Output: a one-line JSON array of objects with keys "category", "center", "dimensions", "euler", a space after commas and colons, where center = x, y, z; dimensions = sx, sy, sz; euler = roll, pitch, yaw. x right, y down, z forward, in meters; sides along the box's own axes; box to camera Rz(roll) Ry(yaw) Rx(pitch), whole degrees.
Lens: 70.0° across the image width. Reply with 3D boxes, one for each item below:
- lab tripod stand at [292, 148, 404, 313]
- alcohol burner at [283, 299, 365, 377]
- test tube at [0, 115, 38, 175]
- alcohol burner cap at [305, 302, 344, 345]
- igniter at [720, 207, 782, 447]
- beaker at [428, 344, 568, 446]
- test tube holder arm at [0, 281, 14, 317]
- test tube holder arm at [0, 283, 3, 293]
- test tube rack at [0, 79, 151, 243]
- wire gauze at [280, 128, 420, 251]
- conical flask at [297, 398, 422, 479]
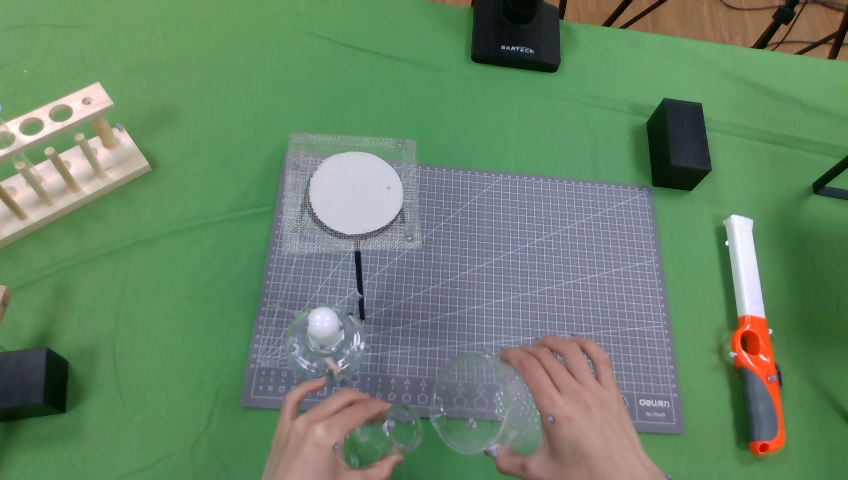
[{"category": "lab tripod stand", "center": [-0.070, -0.016, 0.609], "dimensions": [0.149, 0.132, 0.147], "euler": [4, 65, -7]}, {"category": "alcohol burner", "center": [-0.093, 0.087, 0.569], "dimensions": [0.078, 0.120, 0.077], "euler": [4, 63, -7]}, {"category": "test tube", "center": [-0.410, -0.108, 0.584], "dimensions": [0.017, 0.151, 0.017], "euler": [4, 60, -6]}, {"category": "alcohol burner cap", "center": [-0.089, 0.072, 0.536], "dimensions": [0.034, 0.048, 0.033], "euler": [1, 68, -2]}, {"category": "igniter", "center": [0.362, 0.089, 0.676], "dimensions": [0.057, 0.025, 0.274], "euler": [12, 64, -13]}, {"category": "beaker", "center": [0.063, 0.129, 0.495], "dimensions": [0.101, 0.084, 0.073], "euler": [18, 52, -46]}, {"category": "test tube holder arm", "center": [-0.389, 0.078, 0.538], "dimensions": [0.010, 0.015, 0.087], "euler": [8, 63, -3]}, {"category": "test tube holder arm", "center": [-0.399, 0.118, 0.517], "dimensions": [0.013, 0.015, 0.177], "euler": [7, 63, -4]}, {"category": "test tube rack", "center": [-0.419, -0.063, 0.616], "dimensions": [0.242, 0.085, 0.066], "euler": [-34, 73, -20]}, {"category": "wire gauze", "center": [-0.066, -0.048, 0.550], "dimensions": [0.122, 0.011, 0.124], "euler": [0, 67, -8]}, {"category": "conical flask", "center": [-0.052, 0.172, 0.525], "dimensions": [0.076, 0.122, 0.074], "euler": [24, 48, -29]}]
